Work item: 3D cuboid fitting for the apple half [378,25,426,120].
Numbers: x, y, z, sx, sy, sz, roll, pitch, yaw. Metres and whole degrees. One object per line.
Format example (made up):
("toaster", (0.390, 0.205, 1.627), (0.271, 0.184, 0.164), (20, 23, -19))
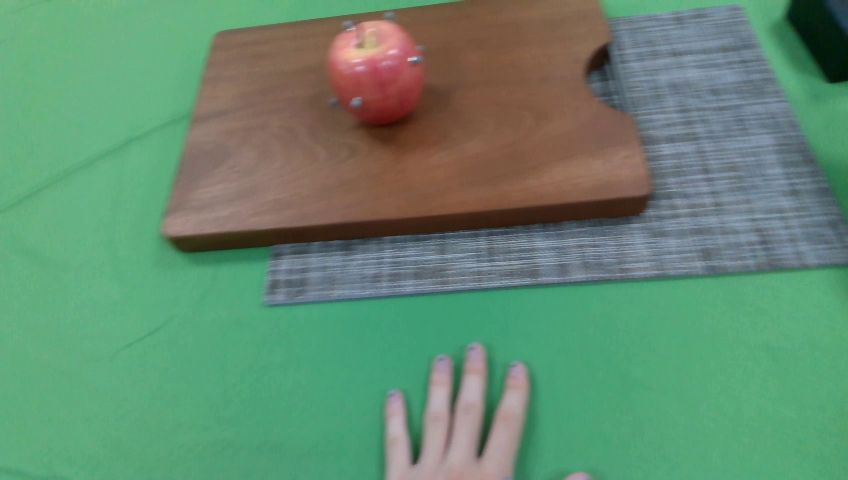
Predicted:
("apple half", (-0.014, -0.146, 0.521), (0.033, 0.082, 0.080), (-16, 55, 4))

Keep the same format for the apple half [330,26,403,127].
("apple half", (-0.052, -0.136, 0.522), (0.053, 0.075, 0.080), (-15, 59, 5))
